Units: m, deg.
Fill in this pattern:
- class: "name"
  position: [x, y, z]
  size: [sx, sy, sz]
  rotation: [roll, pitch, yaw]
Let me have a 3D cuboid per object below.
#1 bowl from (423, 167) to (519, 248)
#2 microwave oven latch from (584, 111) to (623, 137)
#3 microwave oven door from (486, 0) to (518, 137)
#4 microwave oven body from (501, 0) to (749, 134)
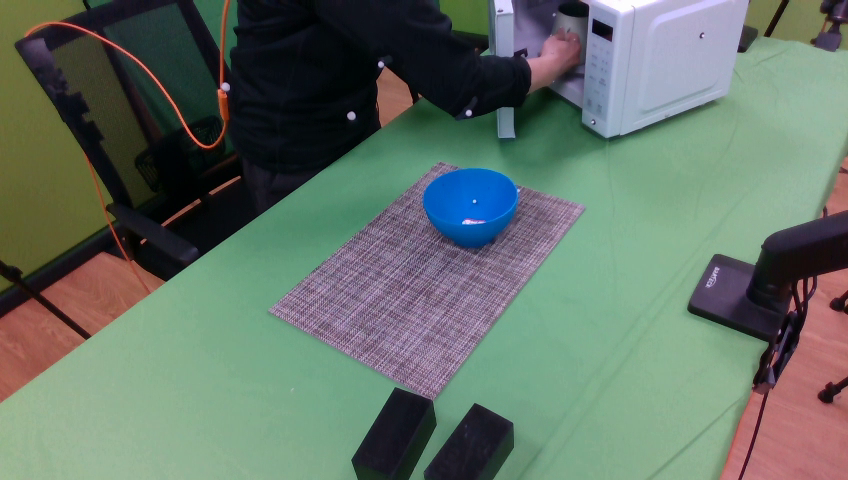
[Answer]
- class: "bowl"
  position: [0.075, -0.041, 0.958]
  size: [0.151, 0.077, 0.150]
  rotation: [-4, 40, 4]
- class: "microwave oven latch"
  position: [0.337, -0.222, 1.142]
  size: [0.030, 0.029, 0.078]
  rotation: [-21, 42, -14]
- class: "microwave oven door"
  position: [0.154, -0.405, 1.222]
  size: [0.039, 0.245, 0.354]
  rotation: [-4, 41, 6]
- class: "microwave oven body"
  position: [0.382, -0.445, 1.246]
  size: [0.327, 0.261, 0.437]
  rotation: [-22, 42, -16]
